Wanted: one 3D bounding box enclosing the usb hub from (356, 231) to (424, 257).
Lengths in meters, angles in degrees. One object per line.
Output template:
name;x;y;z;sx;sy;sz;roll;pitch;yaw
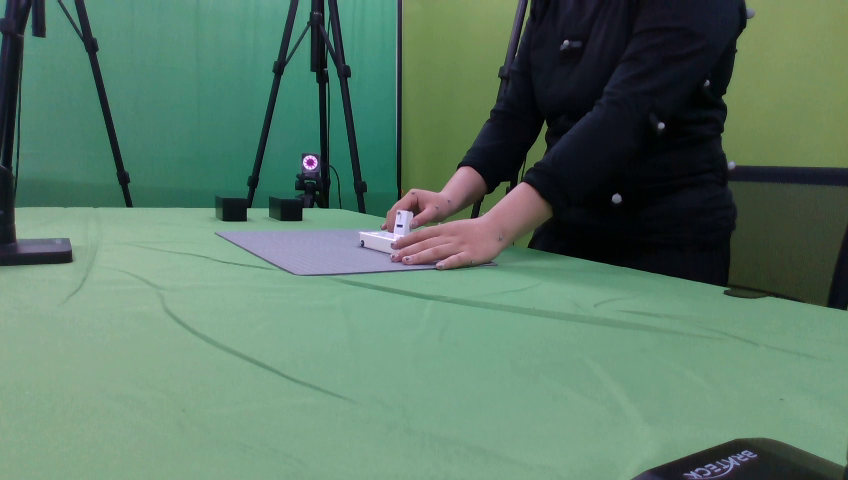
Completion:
usb hub;-0.055;0.005;0.948;0.050;0.025;0.124;-3;9;-36

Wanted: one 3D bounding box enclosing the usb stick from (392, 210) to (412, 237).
usb stick;-0.038;-0.019;1.008;0.021;0.059;0.027;9;-2;27
